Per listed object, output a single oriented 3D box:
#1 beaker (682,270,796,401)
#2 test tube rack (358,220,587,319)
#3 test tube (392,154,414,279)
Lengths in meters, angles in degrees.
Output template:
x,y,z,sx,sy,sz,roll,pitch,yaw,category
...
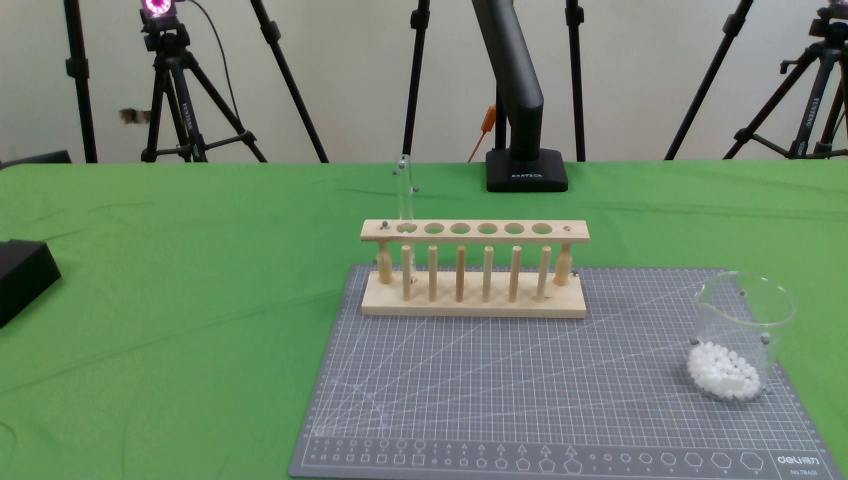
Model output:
x,y,z,sx,sy,sz,roll,pitch,yaw,category
0.276,0.089,0.548,0.084,0.101,0.073,0,34,6,beaker
0.051,0.031,0.661,0.242,0.086,0.066,0,34,4,test tube rack
-0.022,-0.021,0.655,0.017,0.151,0.017,-2,31,2,test tube
